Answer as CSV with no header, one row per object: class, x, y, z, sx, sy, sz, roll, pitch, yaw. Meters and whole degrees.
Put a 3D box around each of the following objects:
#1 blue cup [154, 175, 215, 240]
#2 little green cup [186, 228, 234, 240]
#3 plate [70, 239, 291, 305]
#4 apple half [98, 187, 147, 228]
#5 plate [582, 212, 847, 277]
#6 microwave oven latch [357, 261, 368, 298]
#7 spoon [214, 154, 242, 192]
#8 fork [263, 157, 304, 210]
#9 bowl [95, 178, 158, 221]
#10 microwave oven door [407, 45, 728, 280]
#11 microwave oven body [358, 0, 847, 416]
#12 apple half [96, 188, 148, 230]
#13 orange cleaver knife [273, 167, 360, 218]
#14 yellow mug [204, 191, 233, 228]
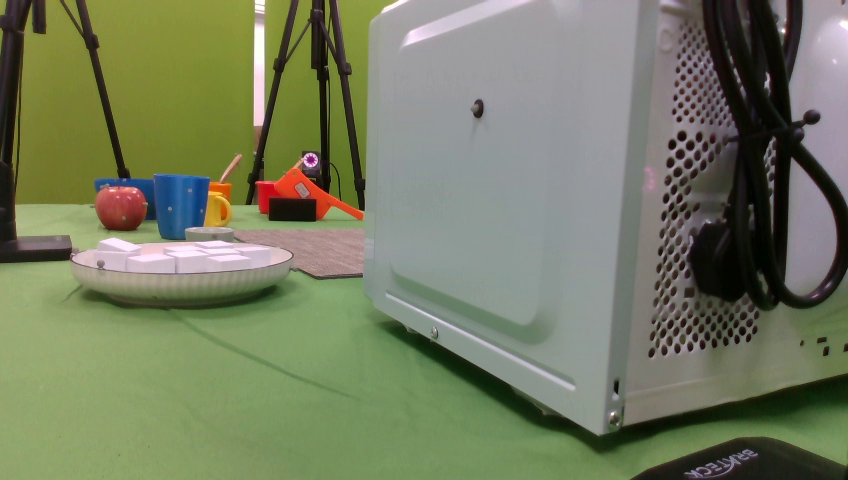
blue cup,-0.391,-0.053,0.978,0.093,0.100,0.092,4,6,0
little green cup,-0.285,0.005,0.805,0.061,0.038,0.061,2,8,0
plate,-0.242,0.031,0.618,0.208,0.039,0.207,2,8,0
apple half,-0.534,-0.059,1.071,0.082,0.081,0.032,-1,11,-25
plate,0.239,0.001,0.510,0.209,0.038,0.209,2,6,0
microwave oven latch,-0.019,0.033,0.530,0.079,0.029,0.030,0,7,-25
spoon,-0.439,-0.124,1.318,0.041,0.193,0.022,5,-36,16
fork,-0.345,-0.143,1.506,0.028,0.019,0.207,-4,46,29
bowl,-0.576,-0.081,1.217,0.151,0.077,0.151,3,8,0
microwave oven door,0.163,-0.079,0.673,0.357,0.243,0.039,1,8,-10
microwave oven body,0.211,-0.047,0.475,0.444,0.260,0.324,-1,7,-28
apple half,-0.517,-0.052,1.036,0.081,0.074,0.053,2,10,-26
orange cleaver knife,-0.238,-0.090,1.381,0.212,0.077,0.012,31,0,-19
yellow mug,-0.415,-0.057,1.131,0.130,0.064,0.100,6,8,16
